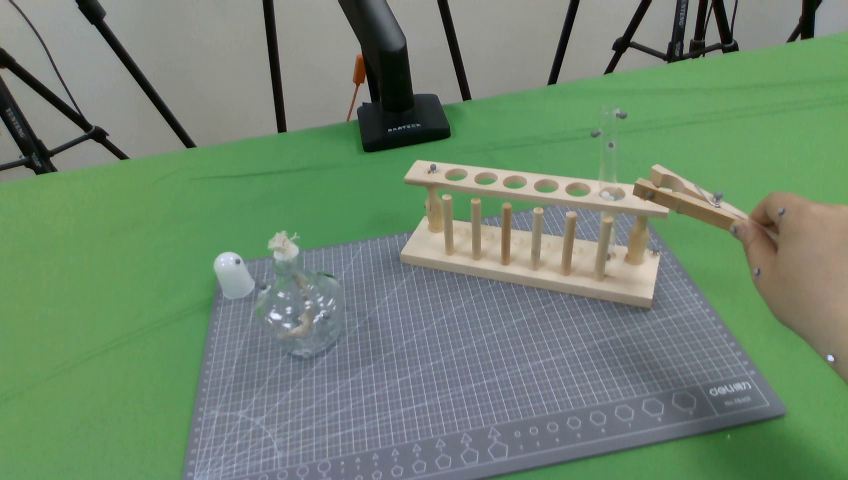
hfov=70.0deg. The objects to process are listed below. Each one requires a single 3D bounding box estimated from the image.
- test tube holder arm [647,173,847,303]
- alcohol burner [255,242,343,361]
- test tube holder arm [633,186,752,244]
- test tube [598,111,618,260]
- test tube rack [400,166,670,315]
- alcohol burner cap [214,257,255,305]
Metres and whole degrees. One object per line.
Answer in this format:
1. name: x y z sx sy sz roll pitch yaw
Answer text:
1. test tube holder arm: 0.235 -0.002 0.434 0.013 0.015 0.176 -34 51 -21
2. alcohol burner: -0.110 0.048 0.520 0.078 0.120 0.077 -3 40 3
3. test tube holder arm: 0.201 -0.020 0.456 0.087 0.015 0.010 25 55 29
4. test tube: 0.161 -0.042 0.529 0.017 0.152 0.017 -8 37 6
5. test tube rack: 0.096 -0.004 0.572 0.241 0.086 0.066 10 42 21
6. alcohol burner cap: -0.190 0.038 0.603 0.034 0.048 0.033 -4 40 3
